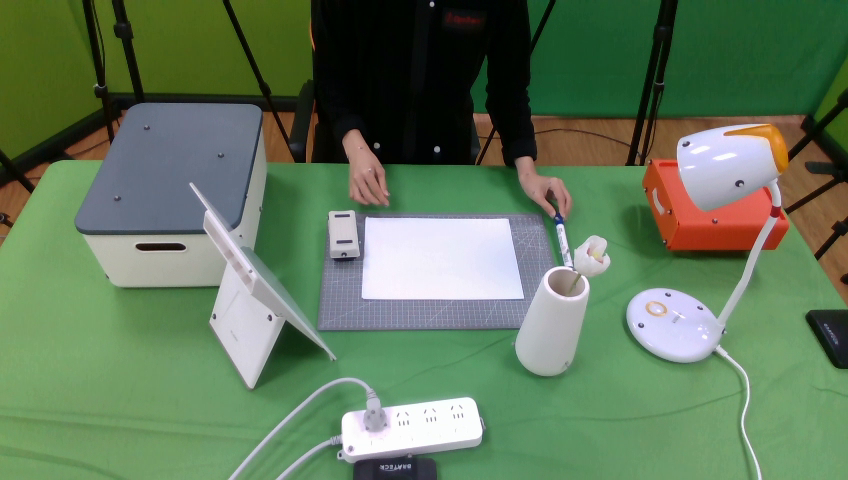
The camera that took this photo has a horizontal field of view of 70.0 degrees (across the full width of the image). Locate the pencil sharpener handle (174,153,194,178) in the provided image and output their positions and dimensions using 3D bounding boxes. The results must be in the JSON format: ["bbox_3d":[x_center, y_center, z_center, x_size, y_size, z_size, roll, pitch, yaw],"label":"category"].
[{"bbox_3d":[-0.479,-0.156,1.225,0.036,0.068,0.030,24,48,2],"label":"pencil sharpener handle"}]

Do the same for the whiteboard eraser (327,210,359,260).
[{"bbox_3d":[-0.158,-0.009,1.177,0.055,0.042,0.112,-6,47,-7],"label":"whiteboard eraser"}]

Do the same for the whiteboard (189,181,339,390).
[{"bbox_3d":[-0.292,0.096,0.929,0.144,0.307,0.216,-37,57,-10],"label":"whiteboard"}]

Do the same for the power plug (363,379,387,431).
[{"bbox_3d":[-0.072,0.252,0.910,0.035,0.053,0.072,3,45,-1],"label":"power plug"}]

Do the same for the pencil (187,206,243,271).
[{"bbox_3d":[-0.401,-0.009,1.176,0.012,0.012,0.193,15,45,10],"label":"pencil"}]

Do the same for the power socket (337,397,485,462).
[{"bbox_3d":[-0.018,0.285,0.915,0.227,0.033,0.071,-5,46,-8],"label":"power socket"}]

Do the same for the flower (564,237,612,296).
[{"bbox_3d":[0.206,0.088,0.893,0.038,0.363,0.044,-16,67,-9],"label":"flower"}]

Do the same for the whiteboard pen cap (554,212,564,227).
[{"bbox_3d":[0.279,-0.041,1.244,0.018,0.018,0.033,0,52,-4],"label":"whiteboard pen cap"}]

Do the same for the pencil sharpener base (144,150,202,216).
[{"bbox_3d":[-0.493,-0.113,1.199,0.061,0.107,0.076,15,47,11],"label":"pencil sharpener base"}]

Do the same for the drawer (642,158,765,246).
[{"bbox_3d":[0.565,-0.076,1.211,0.212,0.073,0.193,2,45,-2],"label":"drawer"}]

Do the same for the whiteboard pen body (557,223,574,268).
[{"bbox_3d":[0.280,0.006,1.207,0.017,0.017,0.140,2,50,-3],"label":"whiteboard pen body"}]

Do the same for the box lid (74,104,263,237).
[{"bbox_3d":[-0.443,-0.139,1.095,0.263,0.015,0.369,-1,45,-5],"label":"box lid"}]

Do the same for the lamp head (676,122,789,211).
[{"bbox_3d":[0.423,-0.104,0.819,0.122,0.113,0.112,-13,33,40],"label":"lamp head"}]

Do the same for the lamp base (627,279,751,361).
[{"bbox_3d":[0.459,0.100,1.027,0.178,0.181,0.160,27,51,17],"label":"lamp base"}]

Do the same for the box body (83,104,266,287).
[{"bbox_3d":[-0.447,-0.088,1.150,0.254,0.161,0.361,-1,46,-5],"label":"box body"}]

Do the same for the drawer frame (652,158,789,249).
[{"bbox_3d":[0.571,-0.075,1.214,0.214,0.083,0.200,0,45,-1],"label":"drawer frame"}]

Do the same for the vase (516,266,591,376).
[{"bbox_3d":[0.208,0.132,0.964,0.098,0.201,0.097,3,46,-3],"label":"vase"}]
